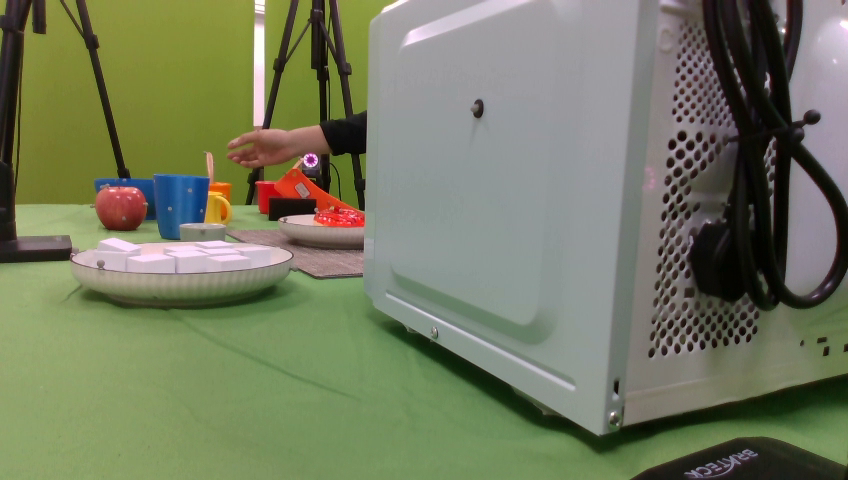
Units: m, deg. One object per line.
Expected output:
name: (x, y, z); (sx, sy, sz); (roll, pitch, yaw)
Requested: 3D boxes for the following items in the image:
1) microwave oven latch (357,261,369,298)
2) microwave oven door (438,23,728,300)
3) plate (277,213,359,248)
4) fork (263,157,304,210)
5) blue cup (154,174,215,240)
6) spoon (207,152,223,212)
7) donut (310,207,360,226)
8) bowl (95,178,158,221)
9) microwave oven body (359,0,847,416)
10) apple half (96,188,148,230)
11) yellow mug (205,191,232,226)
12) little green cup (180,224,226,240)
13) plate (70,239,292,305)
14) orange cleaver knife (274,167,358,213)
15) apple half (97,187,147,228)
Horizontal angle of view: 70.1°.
microwave oven latch: (-0.019, 0.034, 0.530); (0.079, 0.029, 0.030); (0, 7, -25)
microwave oven door: (0.181, -0.072, 0.621); (0.358, 0.243, 0.039); (-2, 8, -29)
plate: (-0.134, -0.017, 0.992); (0.209, 0.038, 0.209); (2, 8, 0)
fork: (-0.345, -0.143, 1.505); (0.028, 0.019, 0.207); (-5, 45, 29)
blue cup: (-0.391, -0.054, 0.978); (0.093, 0.100, 0.092); (4, 6, 0)
spoon: (-0.463, -0.125, 1.320); (0.042, 0.193, 0.021); (-1, -36, -20)
donut: (-0.137, -0.029, 0.995); (0.099, 0.048, 0.099); (4, 9, 0)
bowl: (-0.576, -0.081, 1.217); (0.151, 0.077, 0.151); (3, 8, 0)
microwave oven body: (0.211, -0.047, 0.474); (0.444, 0.260, 0.324); (-1, 7, -28)
apple half: (-0.517, -0.052, 1.036); (0.081, 0.074, 0.053); (3, 10, -26)
yellow mug: (-0.415, -0.057, 1.131); (0.130, 0.064, 0.100); (6, 7, 16)
little green cup: (-0.309, -0.001, 0.846); (0.061, 0.038, 0.061); (2, 8, 0)
plate: (-0.242, 0.031, 0.618); (0.208, 0.039, 0.207); (2, 8, 0)
orange cleaver knife: (-0.238, -0.091, 1.381); (0.212, 0.077, 0.012); (30, 0, -19)
apple half: (-0.534, -0.058, 1.072); (0.082, 0.081, 0.032); (-1, 9, -25)
